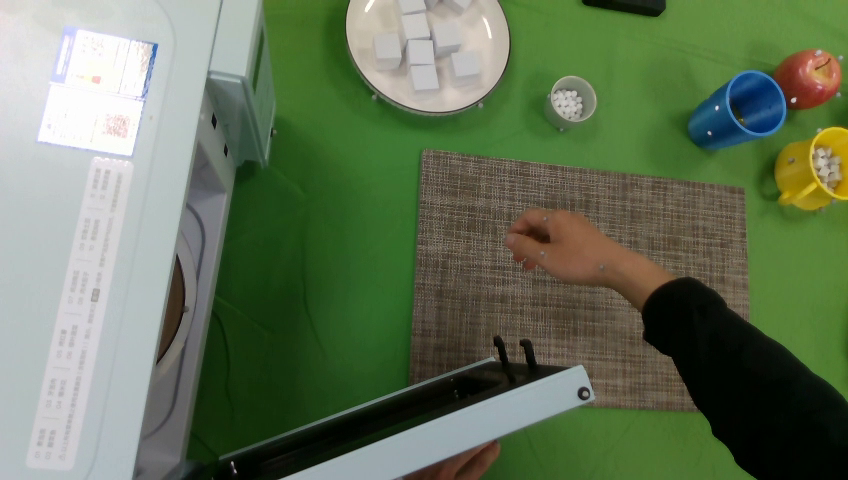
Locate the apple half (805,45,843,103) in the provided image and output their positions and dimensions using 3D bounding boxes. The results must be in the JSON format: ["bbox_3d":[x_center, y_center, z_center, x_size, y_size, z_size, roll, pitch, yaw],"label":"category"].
[{"bbox_3d":[0.551,-0.226,0.841,0.033,0.081,0.081,11,79,-6],"label":"apple half"}]

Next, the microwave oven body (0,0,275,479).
[{"bbox_3d":[-0.331,-0.004,0.531,0.327,0.260,0.440,8,81,-10],"label":"microwave oven body"}]

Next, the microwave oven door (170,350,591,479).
[{"bbox_3d":[-0.055,0.176,0.555,0.356,0.244,0.039,-17,84,-13],"label":"microwave oven door"}]

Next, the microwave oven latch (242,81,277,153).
[{"bbox_3d":[-0.185,-0.141,0.680,0.030,0.029,0.079,12,80,-10],"label":"microwave oven latch"}]

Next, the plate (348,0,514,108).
[{"bbox_3d":[0.008,-0.261,0.756,0.208,0.039,0.207,2,81,-11],"label":"plate"}]

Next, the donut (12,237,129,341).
[{"bbox_3d":[-0.330,0.046,0.568,0.099,0.048,0.099,0,91,-12],"label":"donut"}]

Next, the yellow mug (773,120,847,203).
[{"bbox_3d":[0.531,-0.097,0.822,0.131,0.064,0.100,-37,91,-13],"label":"yellow mug"}]

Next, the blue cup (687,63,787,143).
[{"bbox_3d":[0.398,-0.169,0.789,0.093,0.100,0.092,2,82,-11],"label":"blue cup"}]

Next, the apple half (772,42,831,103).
[{"bbox_3d":[0.513,-0.233,0.836,0.053,0.074,0.080,11,83,-6],"label":"apple half"}]

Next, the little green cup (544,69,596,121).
[{"bbox_3d":[0.186,-0.184,0.781,0.062,0.038,0.061,2,81,-11],"label":"little green cup"}]
